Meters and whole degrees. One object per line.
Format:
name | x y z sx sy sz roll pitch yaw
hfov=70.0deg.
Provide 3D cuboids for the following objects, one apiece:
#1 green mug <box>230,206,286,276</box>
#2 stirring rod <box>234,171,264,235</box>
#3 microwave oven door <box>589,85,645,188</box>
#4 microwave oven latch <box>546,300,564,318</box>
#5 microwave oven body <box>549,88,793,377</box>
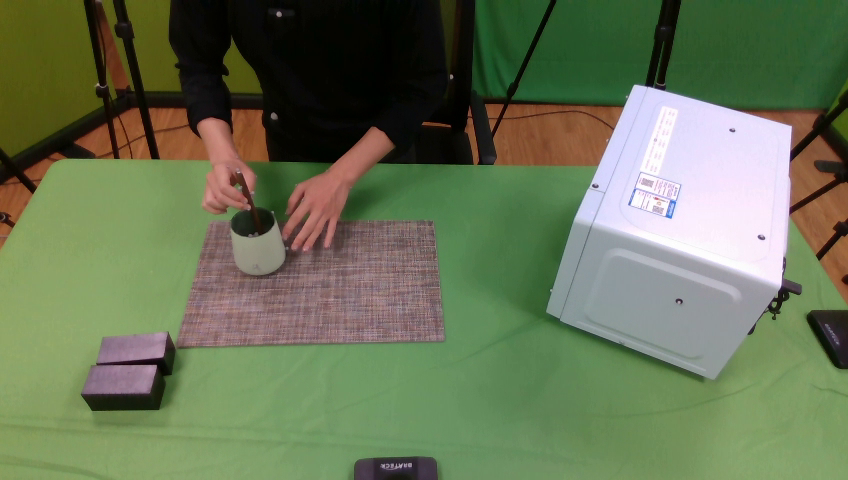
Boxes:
green mug | -0.310 -0.008 1.117 0.092 0.105 0.124 -14 48 -15
stirring rod | -0.296 -0.052 1.046 0.014 0.177 0.006 20 53 21
microwave oven door | 0.342 -0.107 1.148 0.039 0.245 0.354 20 48 15
microwave oven latch | 0.242 0.102 1.081 0.030 0.029 0.079 21 48 17
microwave oven body | 0.456 -0.028 1.088 0.325 0.261 0.440 20 47 16
